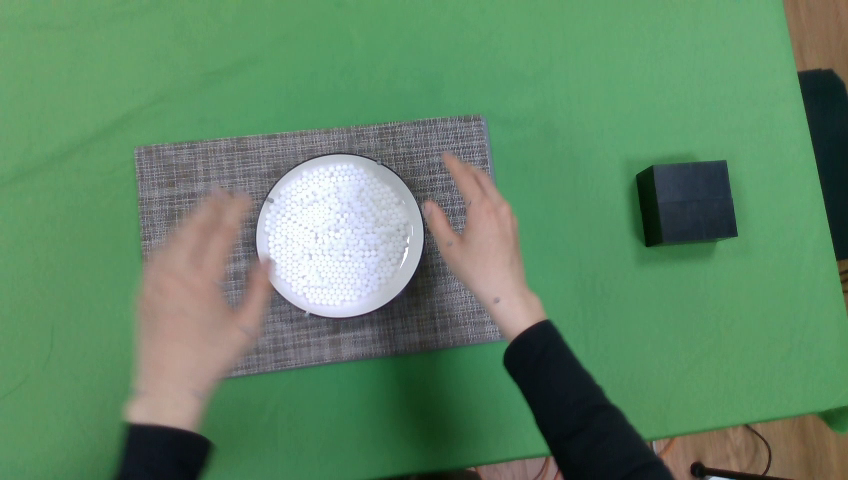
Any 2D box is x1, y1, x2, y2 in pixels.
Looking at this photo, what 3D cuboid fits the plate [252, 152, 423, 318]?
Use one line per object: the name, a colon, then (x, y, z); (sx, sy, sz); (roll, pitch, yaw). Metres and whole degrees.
plate: (-0.106, -0.006, 0.759); (0.209, 0.038, 0.208); (1, 83, -4)
